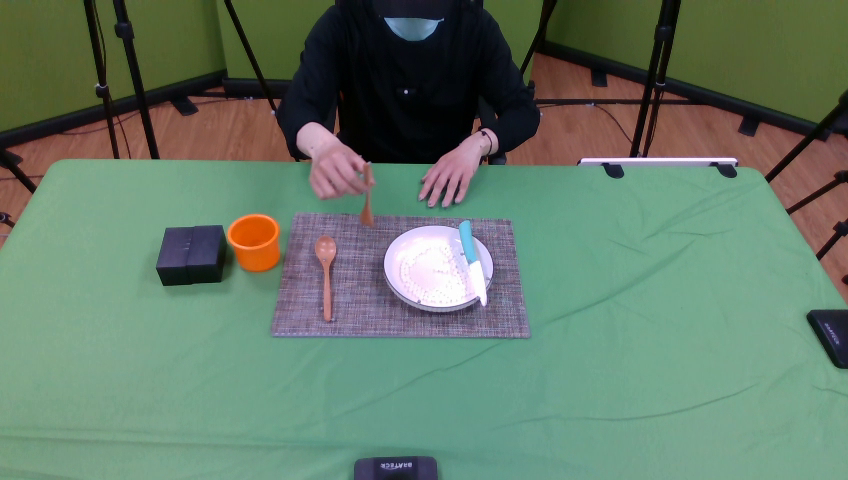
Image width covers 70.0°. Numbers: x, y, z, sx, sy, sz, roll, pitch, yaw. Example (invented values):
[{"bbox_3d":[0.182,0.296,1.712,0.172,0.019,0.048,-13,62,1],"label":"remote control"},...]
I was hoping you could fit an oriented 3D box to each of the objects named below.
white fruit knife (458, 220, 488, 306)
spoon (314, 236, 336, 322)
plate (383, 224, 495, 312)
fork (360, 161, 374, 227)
[{"bbox_3d":[0.091,0.039,1.118,0.027,0.016,0.206,-2,47,-11],"label":"white fruit knife"},{"bbox_3d":[-0.180,0.068,1.111,0.042,0.022,0.192,9,43,-20],"label":"spoon"},{"bbox_3d":[0.026,0.055,1.128,0.209,0.038,0.208,2,46,-2],"label":"plate"},{"bbox_3d":[-0.100,-0.075,1.062,0.028,0.208,0.018,20,59,7],"label":"fork"}]
